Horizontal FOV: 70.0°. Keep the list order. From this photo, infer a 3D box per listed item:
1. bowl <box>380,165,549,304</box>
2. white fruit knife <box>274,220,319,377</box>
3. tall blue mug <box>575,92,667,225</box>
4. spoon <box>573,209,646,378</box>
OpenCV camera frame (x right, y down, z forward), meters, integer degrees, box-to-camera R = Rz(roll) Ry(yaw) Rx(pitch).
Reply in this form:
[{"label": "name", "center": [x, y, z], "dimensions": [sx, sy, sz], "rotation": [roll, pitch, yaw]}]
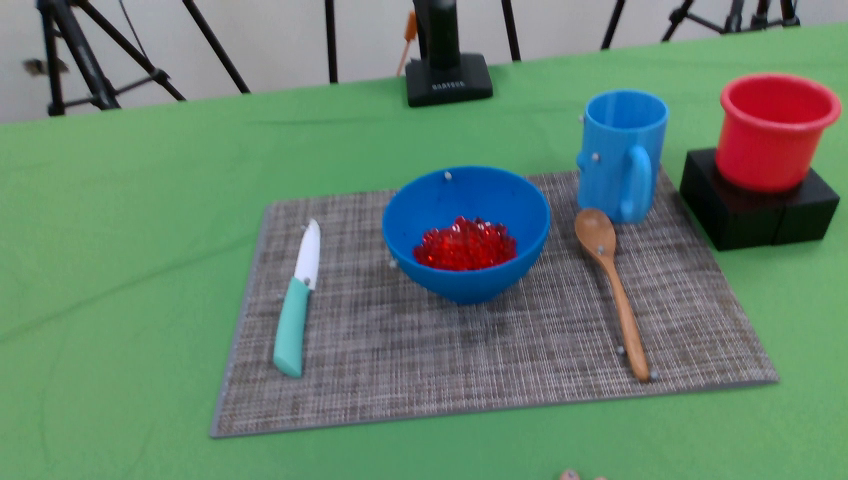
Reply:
[{"label": "bowl", "center": [0.039, 0.006, 0.562], "dimensions": [0.151, 0.077, 0.150], "rotation": [-4, 42, 4]}, {"label": "white fruit knife", "center": [-0.121, 0.046, 0.591], "dimensions": [0.027, 0.016, 0.205], "rotation": [18, 37, -16]}, {"label": "tall blue mug", "center": [0.204, -0.074, 0.603], "dimensions": [0.078, 0.109, 0.106], "rotation": [-24, 44, -19]}, {"label": "spoon", "center": [0.169, 0.040, 0.546], "dimensions": [0.042, 0.022, 0.192], "rotation": [8, 41, -8]}]
